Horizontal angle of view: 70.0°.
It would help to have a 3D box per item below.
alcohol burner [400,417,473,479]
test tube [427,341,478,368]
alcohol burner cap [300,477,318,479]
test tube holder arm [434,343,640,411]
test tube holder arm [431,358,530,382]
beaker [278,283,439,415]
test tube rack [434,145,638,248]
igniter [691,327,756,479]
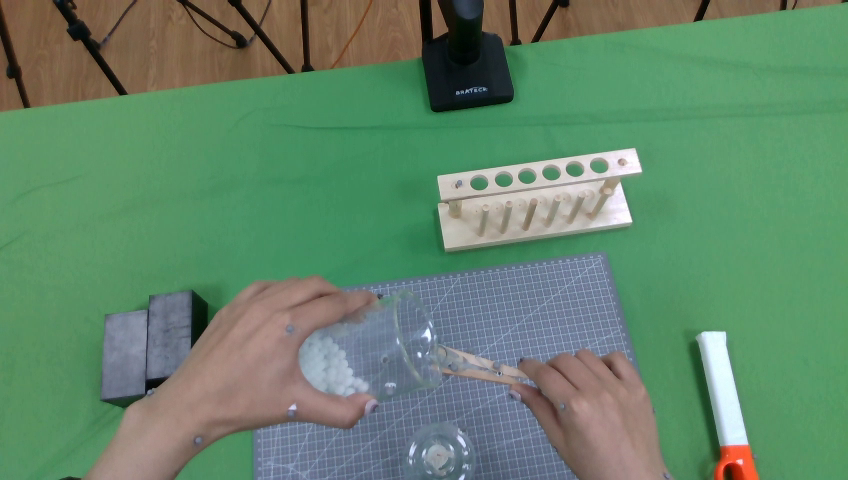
[{"bbox_3d":[0.013,0.219,0.625,0.078,0.120,0.077,0,65,1],"label":"alcohol burner"},{"bbox_3d":[0.028,0.106,0.535,0.017,0.151,0.017,-4,73,14],"label":"test tube"},{"bbox_3d":[-0.126,0.269,0.646,0.034,0.048,0.033,0,67,1],"label":"alcohol burner cap"},{"bbox_3d":[0.093,0.116,0.519,0.177,0.015,0.013,12,83,17],"label":"test tube holder arm"},{"bbox_3d":[0.050,0.114,0.531,0.087,0.015,0.010,4,81,16],"label":"test tube holder arm"},{"bbox_3d":[-0.047,0.084,0.447,0.100,0.085,0.073,-21,56,16],"label":"beaker"},{"bbox_3d":[0.138,-0.053,0.755,0.242,0.086,0.066,-8,67,-2],"label":"test tube rack"},{"bbox_3d":[0.336,0.230,0.662,0.057,0.025,0.274,2,67,-9],"label":"igniter"}]
